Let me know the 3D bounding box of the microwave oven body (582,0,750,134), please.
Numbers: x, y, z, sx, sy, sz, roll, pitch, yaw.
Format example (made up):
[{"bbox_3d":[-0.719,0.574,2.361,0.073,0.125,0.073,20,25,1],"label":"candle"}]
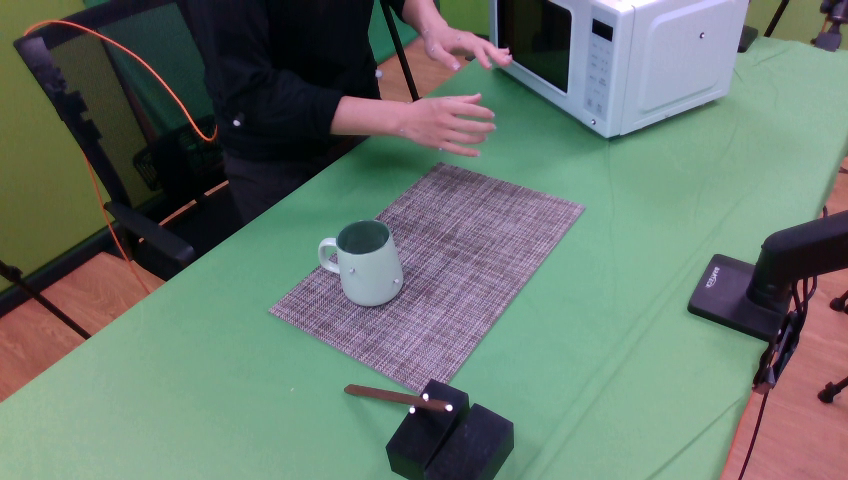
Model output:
[{"bbox_3d":[0.382,-0.445,1.246,0.327,0.261,0.437,-22,42,-16],"label":"microwave oven body"}]

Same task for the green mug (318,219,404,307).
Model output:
[{"bbox_3d":[-0.096,0.032,0.876,0.125,0.105,0.092,8,43,17],"label":"green mug"}]

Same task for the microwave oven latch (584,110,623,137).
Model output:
[{"bbox_3d":[0.337,-0.222,1.142,0.030,0.029,0.078,-21,42,-14],"label":"microwave oven latch"}]

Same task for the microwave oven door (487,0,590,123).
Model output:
[{"bbox_3d":[0.232,-0.420,1.231,0.039,0.245,0.352,-22,43,-16],"label":"microwave oven door"}]

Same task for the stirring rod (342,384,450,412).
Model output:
[{"bbox_3d":[-0.038,0.186,0.714,0.175,0.006,0.014,-3,22,43],"label":"stirring rod"}]
